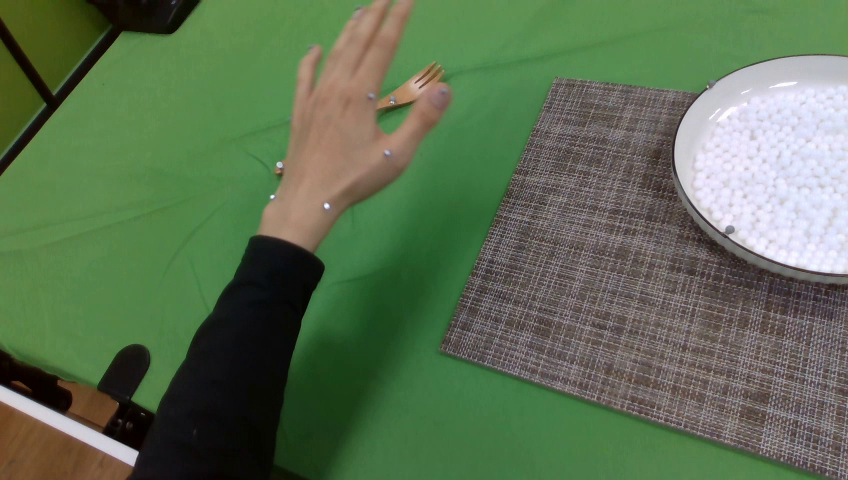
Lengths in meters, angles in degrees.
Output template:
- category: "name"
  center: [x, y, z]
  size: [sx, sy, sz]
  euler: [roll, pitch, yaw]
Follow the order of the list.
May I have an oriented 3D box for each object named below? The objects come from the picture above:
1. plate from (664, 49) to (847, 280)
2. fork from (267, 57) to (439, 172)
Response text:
- category: "plate"
  center: [0.292, -0.059, 0.460]
  size: [0.209, 0.038, 0.207]
  euler: [-8, 57, 13]
- category: "fork"
  center: [-0.073, -0.129, 0.627]
  size: [0.207, 0.019, 0.028]
  euler: [-32, 66, -6]
